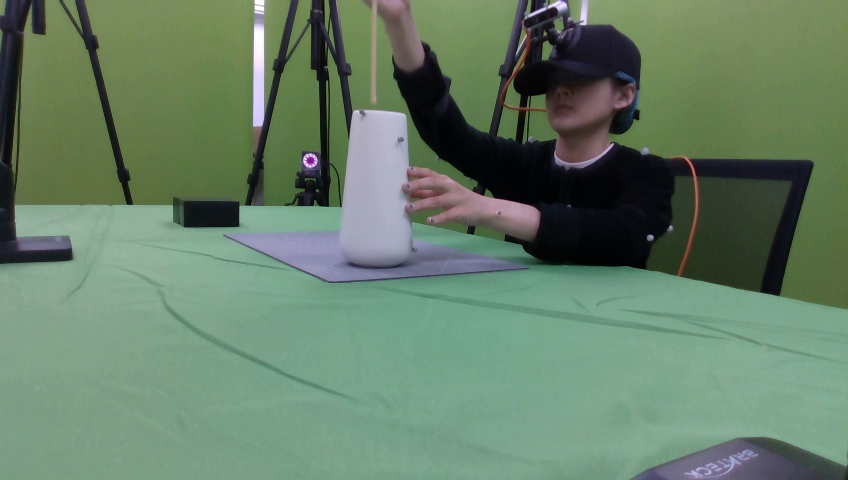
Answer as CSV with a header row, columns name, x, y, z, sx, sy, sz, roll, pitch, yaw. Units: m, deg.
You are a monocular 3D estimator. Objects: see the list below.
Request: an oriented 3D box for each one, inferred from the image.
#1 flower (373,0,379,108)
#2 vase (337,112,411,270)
name,x,y,z,sx,sy,sz,roll,pitch,yaw
flower,-0.064,-0.351,0.788,0.044,0.361,0.038,0,-1,-33
vase,-0.064,-0.064,0.790,0.098,0.200,0.098,2,7,0
